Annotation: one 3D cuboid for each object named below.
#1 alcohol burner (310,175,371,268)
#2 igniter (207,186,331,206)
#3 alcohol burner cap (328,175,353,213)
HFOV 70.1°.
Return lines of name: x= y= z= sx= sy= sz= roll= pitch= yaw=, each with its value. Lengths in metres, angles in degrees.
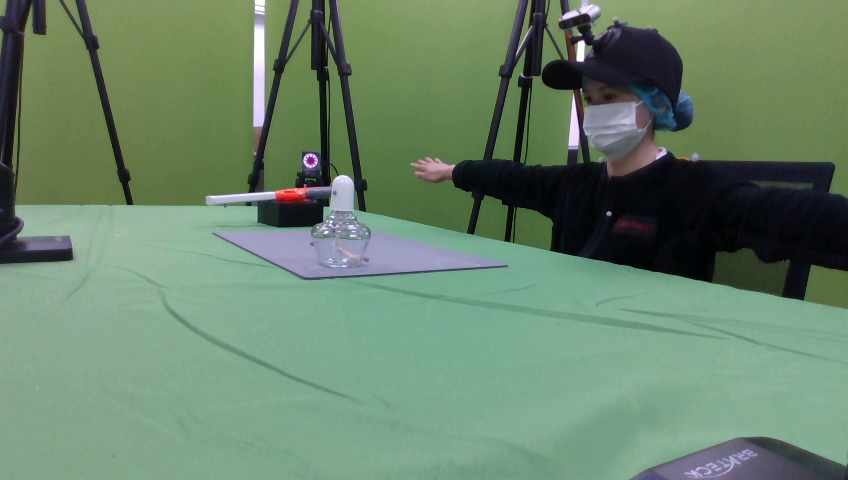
alcohol burner: x=-0.107 y=-0.024 z=0.778 sx=0.078 sy=0.119 sz=0.078 roll=3 pitch=5 yaw=0
igniter: x=-0.300 y=-0.091 z=1.241 sx=0.278 sy=0.025 sz=0.057 roll=-8 pitch=11 yaw=-34
alcohol burner cap: x=-0.106 y=-0.059 z=0.774 sx=0.034 sy=0.048 sz=0.034 roll=5 pitch=8 yaw=0
